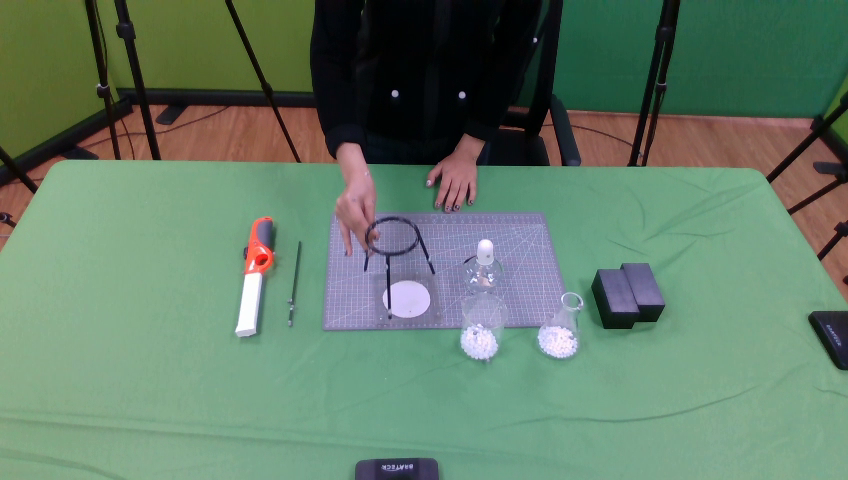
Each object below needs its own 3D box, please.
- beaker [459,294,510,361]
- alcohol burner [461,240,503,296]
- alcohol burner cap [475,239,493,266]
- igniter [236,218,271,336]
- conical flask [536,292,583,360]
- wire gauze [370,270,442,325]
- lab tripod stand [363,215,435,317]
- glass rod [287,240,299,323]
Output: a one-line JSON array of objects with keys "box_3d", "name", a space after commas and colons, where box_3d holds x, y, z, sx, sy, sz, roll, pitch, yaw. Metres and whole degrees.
[{"box_3d": [0.095, 0.147, 1.012, 0.083, 0.101, 0.074, 26, 49, 21], "name": "beaker"}, {"box_3d": [0.107, 0.045, 1.098, 0.078, 0.120, 0.077, 2, 44, -1], "name": "alcohol burner"}, {"box_3d": [0.107, 0.020, 1.071, 0.034, 0.048, 0.033, -2, 46, 3], "name": "alcohol burner cap"}, {"box_3d": [-0.312, 0.058, 1.115, 0.057, 0.025, 0.274, -9, 46, 2], "name": "igniter"}, {"box_3d": [0.234, 0.139, 1.015, 0.075, 0.122, 0.075, 2, 46, -2], "name": "conical flask"}, {"box_3d": [-0.035, 0.104, 1.103, 0.125, 0.011, 0.120, -3, 46, -5], "name": "wire gauze"}, {"box_3d": [-0.049, 0.032, 1.021, 0.148, 0.132, 0.147, 0, 43, 0], "name": "lab tripod stand"}, {"box_3d": [-0.241, 0.072, 1.120, 0.008, 0.008, 0.198, -1, 46, -4], "name": "glass rod"}]
